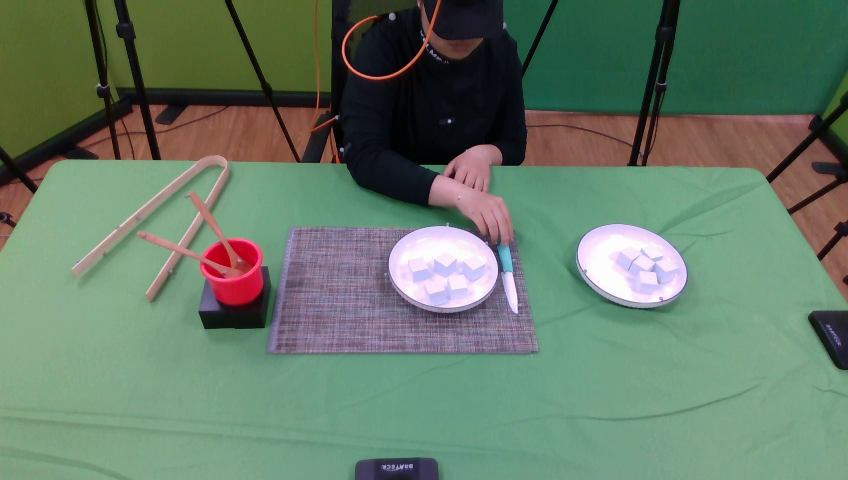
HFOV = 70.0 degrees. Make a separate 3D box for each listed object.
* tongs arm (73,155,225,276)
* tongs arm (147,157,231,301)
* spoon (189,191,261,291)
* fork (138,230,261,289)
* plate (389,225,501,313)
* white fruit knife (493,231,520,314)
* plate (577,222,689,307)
[{"bbox_3d":[-0.531,-0.058,1.205,0.050,0.026,0.383,19,47,13],"label":"tongs arm"},{"bbox_3d":[-0.454,-0.035,1.194,0.028,0.028,0.385,6,46,6],"label":"tongs arm"},{"bbox_3d":[-0.333,0.001,1.012,0.041,0.194,0.021,-34,15,-25],"label":"spoon"},{"bbox_3d":[-0.360,0.032,0.981,0.208,0.018,0.028,31,60,-30],"label":"fork"},{"bbox_3d":[0.038,0.057,1.129,0.208,0.039,0.206,2,46,-2],"label":"plate"},{"bbox_3d":[0.160,0.057,1.154,0.027,0.016,0.206,-21,46,16],"label":"white fruit knife"},{"bbox_3d":[0.396,0.050,1.165,0.209,0.038,0.208,2,47,-2],"label":"plate"}]
